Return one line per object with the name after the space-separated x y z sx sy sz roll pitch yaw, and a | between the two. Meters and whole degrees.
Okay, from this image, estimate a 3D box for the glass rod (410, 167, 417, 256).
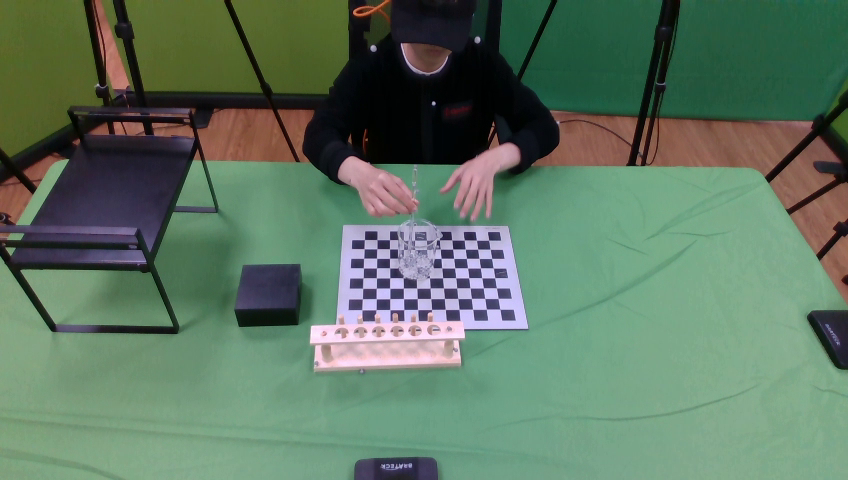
-0.019 -0.045 1.059 0.008 0.201 0.008 2 43 -1 | glass rod

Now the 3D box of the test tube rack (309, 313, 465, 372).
-0.059 0.161 0.990 0.242 0.085 0.066 -1 46 -5 | test tube rack

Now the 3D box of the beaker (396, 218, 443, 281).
-0.010 0.020 1.116 0.084 0.101 0.073 1 46 -3 | beaker
